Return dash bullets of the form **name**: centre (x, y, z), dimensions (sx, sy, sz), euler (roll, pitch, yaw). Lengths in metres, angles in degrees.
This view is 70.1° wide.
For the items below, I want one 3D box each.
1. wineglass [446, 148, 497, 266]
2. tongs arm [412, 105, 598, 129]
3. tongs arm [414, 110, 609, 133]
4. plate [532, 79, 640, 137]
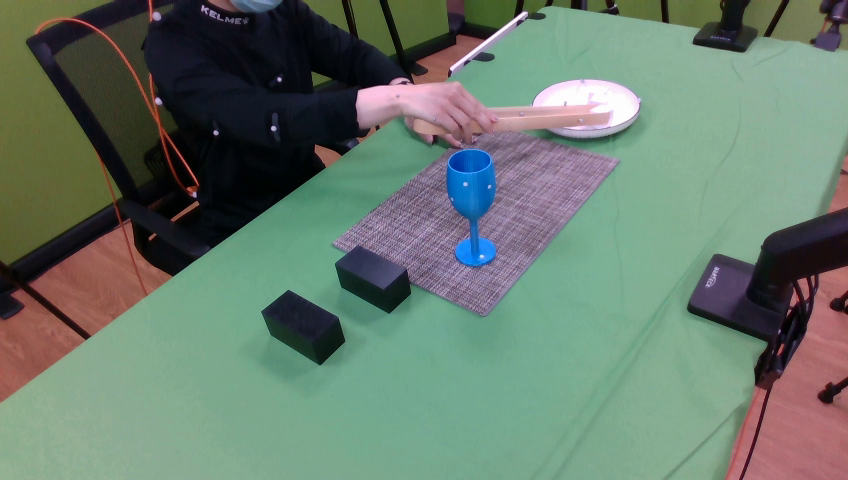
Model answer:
- **wineglass**: centre (0.072, -0.045, 0.889), dimensions (0.074, 0.173, 0.073), euler (-4, 41, 4)
- **tongs arm**: centre (0.160, -0.228, 1.112), dimensions (0.387, 0.026, 0.050), euler (-4, 30, -16)
- **tongs arm**: centre (0.169, -0.217, 1.092), dimensions (0.390, 0.028, 0.028), euler (-6, 35, -20)
- **plate**: centre (0.322, -0.259, 1.212), dimensions (0.209, 0.038, 0.208), euler (-4, 40, 4)
